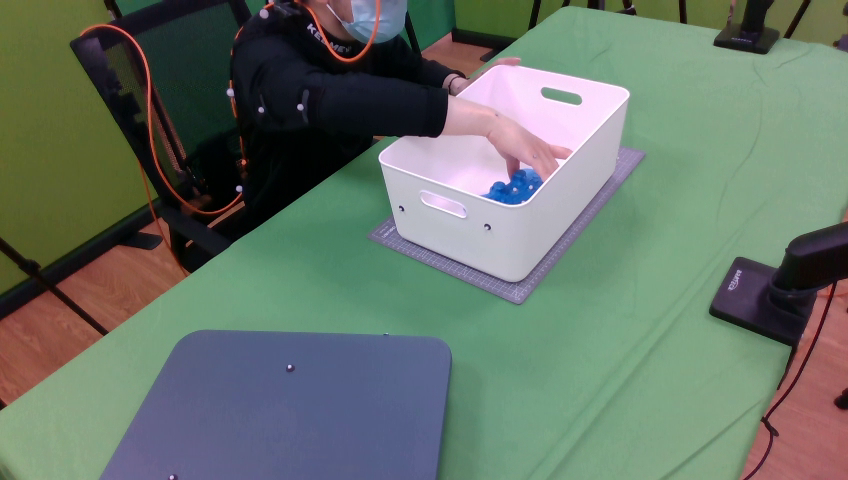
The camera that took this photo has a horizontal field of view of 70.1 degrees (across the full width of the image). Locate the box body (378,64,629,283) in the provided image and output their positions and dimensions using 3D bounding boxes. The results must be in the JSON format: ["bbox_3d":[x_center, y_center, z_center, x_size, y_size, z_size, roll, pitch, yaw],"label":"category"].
[{"bbox_3d":[0.137,-0.121,0.978,0.252,0.161,0.365,23,49,30],"label":"box body"}]

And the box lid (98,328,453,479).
[{"bbox_3d":[-0.156,0.209,0.690,0.371,0.015,0.262,1,41,9],"label":"box lid"}]

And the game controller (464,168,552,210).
[{"bbox_3d":[0.149,-0.079,1.006,0.156,0.052,0.096,-30,51,-25],"label":"game controller"}]
